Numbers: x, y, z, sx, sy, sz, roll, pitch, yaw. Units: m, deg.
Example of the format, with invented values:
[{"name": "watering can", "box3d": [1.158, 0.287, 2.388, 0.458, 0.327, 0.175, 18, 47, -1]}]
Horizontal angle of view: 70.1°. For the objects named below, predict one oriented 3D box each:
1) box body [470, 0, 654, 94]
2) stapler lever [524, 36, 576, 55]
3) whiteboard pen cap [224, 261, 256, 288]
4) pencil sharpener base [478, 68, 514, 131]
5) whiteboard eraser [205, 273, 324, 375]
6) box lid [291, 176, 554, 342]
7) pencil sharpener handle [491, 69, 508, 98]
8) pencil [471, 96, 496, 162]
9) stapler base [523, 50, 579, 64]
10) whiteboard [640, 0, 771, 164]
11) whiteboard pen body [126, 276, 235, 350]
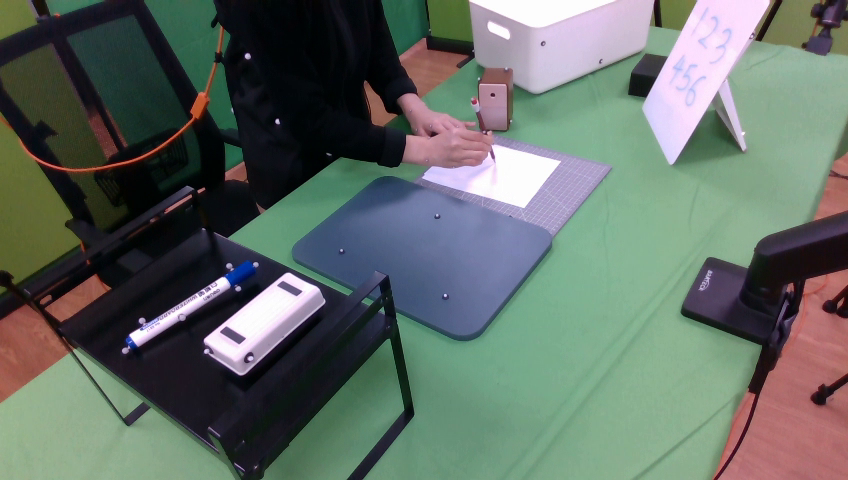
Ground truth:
[{"name": "box body", "box3d": [0.319, -0.498, 1.405, 0.365, 0.161, 0.252, -26, 43, -21]}, {"name": "stapler lever", "box3d": [0.296, -0.456, 1.418, 0.117, 0.040, 0.027, 4, 40, 17]}, {"name": "whiteboard pen cap", "box3d": [-0.207, 0.039, 0.677, 0.033, 0.018, 0.018, -35, 47, -18]}, {"name": "pencil sharpener base", "box3d": [0.148, -0.286, 1.225, 0.061, 0.107, 0.076, 5, 41, 15]}, {"name": "whiteboard eraser", "box3d": [-0.157, 0.084, 0.605, 0.055, 0.042, 0.113, 24, 49, 30]}, {"name": "box lid", "box3d": [-0.005, 0.011, 0.972, 0.368, 0.015, 0.264, 21, 49, 30]}, {"name": "pencil sharpener handle", "box3d": [0.155, -0.329, 1.254, 0.036, 0.068, 0.030, 17, 43, 3]}, {"name": "pencil", "box3d": [0.107, -0.187, 1.053, 0.012, 0.195, 0.012, -7, 63, 15]}, {"name": "stapler base", "box3d": [0.301, -0.436, 1.434, 0.130, 0.024, 0.041, 5, 40, 16]}, {"name": "whiteboard", "box3d": [0.543, -0.299, 1.076, 0.144, 0.305, 0.216, 12, 40, -7]}, {"name": "whiteboard pen body", "box3d": [-0.251, 0.070, 0.649, 0.141, 0.017, 0.017, -36, 48, -25]}]
